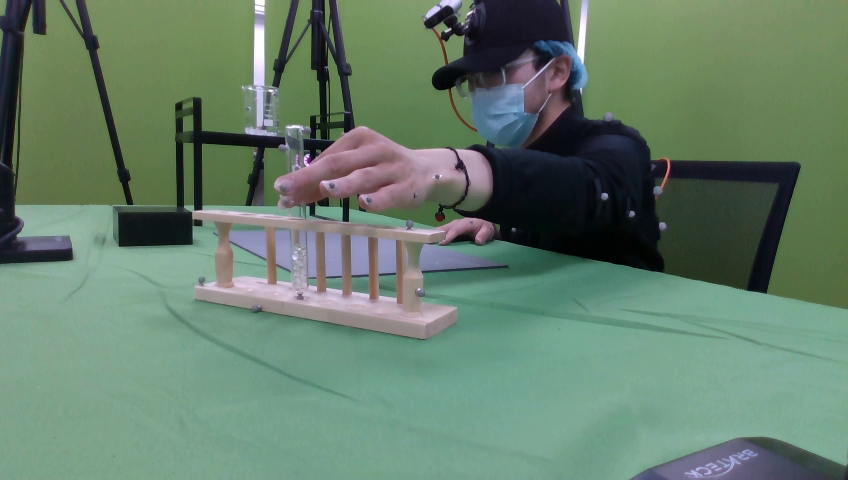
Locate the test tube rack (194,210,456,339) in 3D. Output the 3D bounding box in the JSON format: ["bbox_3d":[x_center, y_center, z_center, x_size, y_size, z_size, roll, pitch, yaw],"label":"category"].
[{"bbox_3d":[-0.093,0.023,0.545,0.241,0.085,0.067,6,8,25],"label":"test tube rack"}]

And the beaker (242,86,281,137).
[{"bbox_3d":[-0.338,-0.265,1.252,0.073,0.100,0.084,8,9,38],"label":"beaker"}]

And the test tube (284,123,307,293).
[{"bbox_3d":[-0.114,-0.027,0.534,0.017,0.150,0.017,-1,6,0],"label":"test tube"}]
